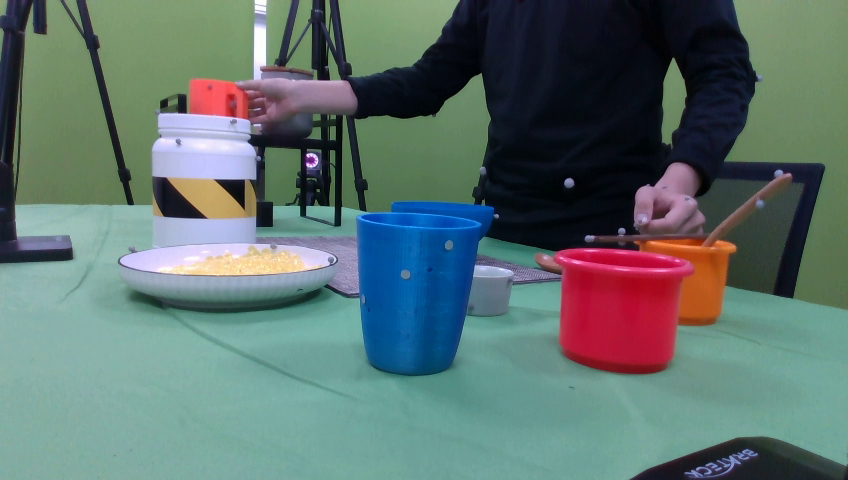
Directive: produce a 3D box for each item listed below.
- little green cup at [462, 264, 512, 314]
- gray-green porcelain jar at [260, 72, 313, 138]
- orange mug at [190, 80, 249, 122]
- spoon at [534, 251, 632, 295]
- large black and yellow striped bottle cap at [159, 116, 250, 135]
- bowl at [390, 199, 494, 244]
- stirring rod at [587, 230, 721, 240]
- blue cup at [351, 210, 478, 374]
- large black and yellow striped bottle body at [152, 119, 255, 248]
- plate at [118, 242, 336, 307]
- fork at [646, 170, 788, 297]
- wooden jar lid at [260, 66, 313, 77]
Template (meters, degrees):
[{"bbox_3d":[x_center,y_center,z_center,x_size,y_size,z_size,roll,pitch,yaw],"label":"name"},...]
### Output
[{"bbox_3d":[0.053,0.047,0.579,0.061,0.038,0.061,3,8,0],"label":"little green cup"},{"bbox_3d":[-0.284,-0.276,1.253,0.106,0.126,0.106,3,8,0],"label":"gray-green porcelain jar"},{"bbox_3d":[-0.393,-0.257,1.173,0.126,0.100,0.084,1,6,25],"label":"orange mug"},{"bbox_3d":[0.194,0.038,0.753,0.042,0.021,0.193,14,2,-20],"label":"spoon"},{"bbox_3d":[-0.292,-0.153,0.810,0.115,0.019,0.115,3,8,0],"label":"large black and yellow striped bottle cap"},{"bbox_3d":[0.024,-0.015,0.872,0.151,0.077,0.151,3,7,0],"label":"bowl"},{"bbox_3d":[0.227,-0.005,0.586,0.177,0.006,0.014,-2,7,-29],"label":"stirring rod"},{"bbox_3d":[-0.009,0.034,0.414,0.093,0.100,0.092,4,8,0],"label":"blue cup"},{"bbox_3d":[-0.296,-0.070,0.819,0.131,0.184,0.130,2,7,0],"label":"large black and yellow striped bottle body"},{"bbox_3d":[-0.194,0.033,0.615,0.209,0.038,0.209,2,7,0],"label":"plate"},{"bbox_3d":[0.256,0.004,0.543,0.028,0.018,0.207,3,-36,-9],"label":"fork"},{"bbox_3d":[-0.283,-0.339,1.244,0.108,0.020,0.108,5,8,0],"label":"wooden jar lid"}]
